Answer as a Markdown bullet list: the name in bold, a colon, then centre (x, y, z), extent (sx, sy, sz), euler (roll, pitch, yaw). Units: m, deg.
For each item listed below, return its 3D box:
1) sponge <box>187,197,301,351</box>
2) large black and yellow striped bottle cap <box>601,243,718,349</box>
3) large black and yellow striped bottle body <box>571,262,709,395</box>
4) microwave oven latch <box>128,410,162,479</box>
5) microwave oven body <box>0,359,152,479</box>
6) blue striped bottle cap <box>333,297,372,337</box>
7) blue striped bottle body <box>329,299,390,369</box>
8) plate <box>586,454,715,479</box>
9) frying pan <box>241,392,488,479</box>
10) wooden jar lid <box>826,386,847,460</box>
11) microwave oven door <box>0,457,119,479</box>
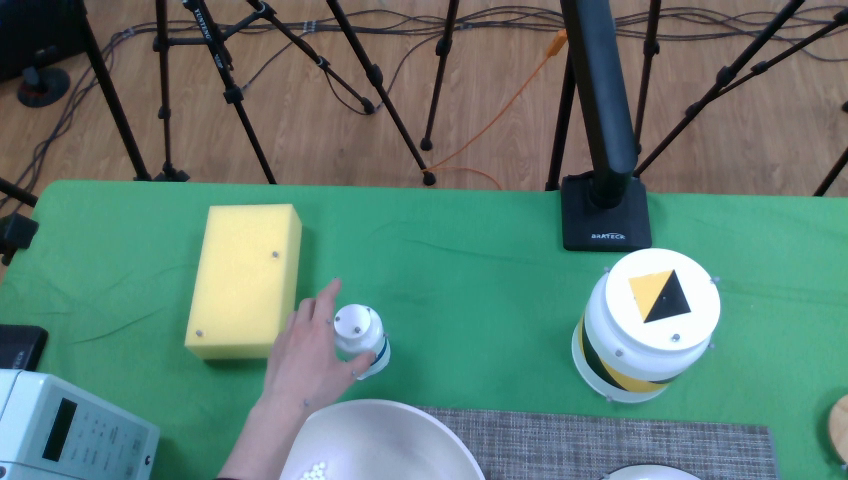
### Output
- **sponge**: centre (-0.241, 0.045, 0.829), extent (0.118, 0.061, 0.205), euler (-3, 63, 3)
- **large black and yellow striped bottle cap**: centre (0.244, 0.056, 0.628), extent (0.115, 0.019, 0.114), euler (-2, 61, 3)
- **large black and yellow striped bottle body**: centre (0.249, 0.096, 0.704), extent (0.131, 0.185, 0.129), euler (-2, 62, 3)
- **microwave oven latch**: centre (-0.339, 0.245, 0.724), extent (0.030, 0.030, 0.078), euler (3, 64, 5)
- **microwave oven body**: centre (-0.506, 0.350, 0.571), extent (0.326, 0.262, 0.438), euler (3, 63, 4)
- **blue striped bottle cap**: centre (-0.083, 0.089, 0.705), extent (0.044, 0.021, 0.044), euler (-1, 65, 2)
- **blue striped bottle body**: centre (-0.080, 0.114, 0.750), extent (0.063, 0.122, 0.062), euler (-1, 62, 3)
- **plate**: centre (0.253, 0.341, 0.655), extent (0.209, 0.038, 0.207), euler (-1, 63, 3)
- **frying pan**: centre (-0.072, 0.402, 0.608), extent (0.306, 0.104, 0.483), euler (0, 54, 7)
- **wooden jar lid**: centre (0.530, 0.224, 0.713), extent (0.108, 0.021, 0.107), euler (-1, 64, 3)
- **microwave oven door**: centre (-0.366, 0.391, 0.536), extent (0.039, 0.246, 0.353), euler (2, 63, 5)
